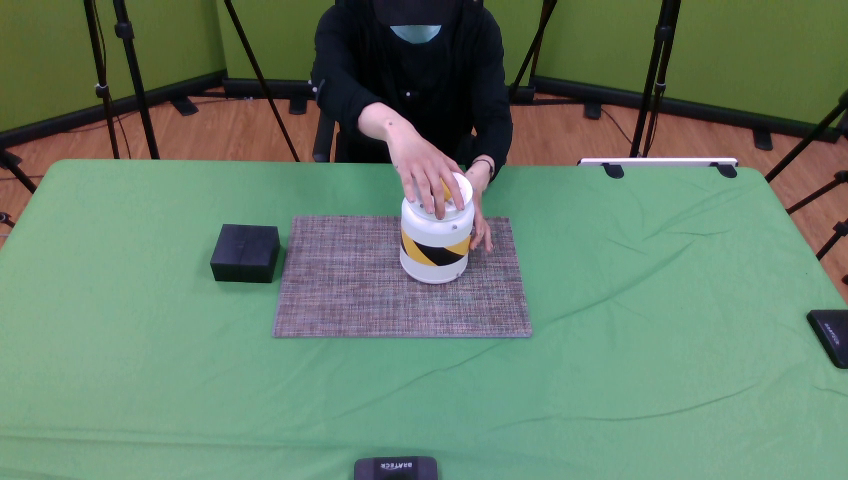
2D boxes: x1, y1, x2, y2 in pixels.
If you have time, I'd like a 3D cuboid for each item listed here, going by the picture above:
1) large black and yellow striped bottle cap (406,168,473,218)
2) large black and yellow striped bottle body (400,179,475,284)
[{"bbox_3d":[0.026,-0.084,1.042,0.115,0.019,0.114,3,46,-3],"label":"large black and yellow striped bottle cap"},{"bbox_3d":[0.023,-0.024,1.102,0.131,0.185,0.130,2,46,-2],"label":"large black and yellow striped bottle body"}]
